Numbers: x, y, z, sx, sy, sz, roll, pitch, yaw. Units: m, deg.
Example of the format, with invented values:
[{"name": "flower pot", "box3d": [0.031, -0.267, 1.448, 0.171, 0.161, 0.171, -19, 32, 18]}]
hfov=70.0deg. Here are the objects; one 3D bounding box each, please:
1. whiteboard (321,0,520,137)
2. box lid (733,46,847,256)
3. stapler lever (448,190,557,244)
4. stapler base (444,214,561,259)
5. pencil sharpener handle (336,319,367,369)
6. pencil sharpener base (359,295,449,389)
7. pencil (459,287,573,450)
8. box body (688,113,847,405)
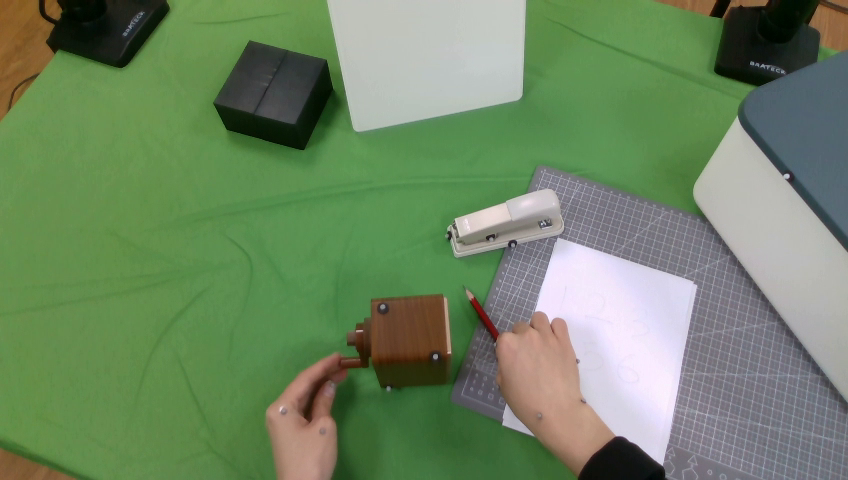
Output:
[{"name": "whiteboard", "box3d": [-0.013, -0.304, 0.690, 0.217, 0.308, 0.142, -12, 46, -5]}, {"name": "box lid", "box3d": [0.474, -0.033, 0.525, 0.263, 0.015, 0.368, -24, 68, -12]}, {"name": "stapler lever", "box3d": [0.085, -0.025, 0.650, 0.118, 0.040, 0.026, -13, 61, -3]}, {"name": "stapler base", "box3d": [0.088, -0.014, 0.672, 0.130, 0.024, 0.041, -13, 61, -3]}, {"name": "pencil sharpener handle", "box3d": [-0.069, 0.100, 0.558, 0.030, 0.068, 0.035, -4, 50, -1]}, {"name": "pencil sharpener base", "box3d": [-0.018, 0.099, 0.573, 0.077, 0.108, 0.061, -4, 65, -1]}, {"name": "pencil", "box3d": [0.087, 0.122, 0.605, 0.012, 0.012, 0.192, -28, 66, -13]}, {"name": "box body", "box3d": [0.475, 0.001, 0.591, 0.254, 0.161, 0.361, -24, 67, -12]}]
